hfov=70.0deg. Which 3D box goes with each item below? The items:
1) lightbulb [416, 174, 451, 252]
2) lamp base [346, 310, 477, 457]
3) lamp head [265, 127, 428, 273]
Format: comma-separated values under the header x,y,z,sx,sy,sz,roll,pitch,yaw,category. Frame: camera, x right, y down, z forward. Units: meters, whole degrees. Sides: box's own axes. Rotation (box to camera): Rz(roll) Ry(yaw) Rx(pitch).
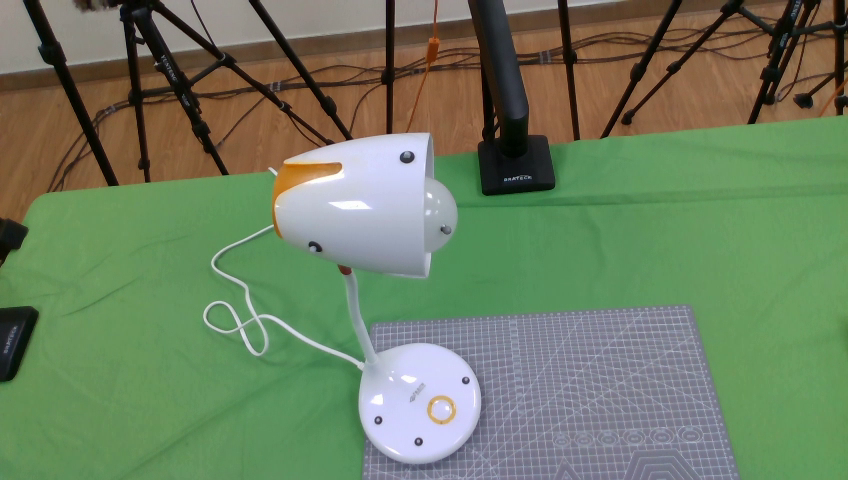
x,y,z,sx,sy,sz,roll,pitch,yaw,category
-0.033,-0.018,0.458,0.107,0.060,0.059,-3,56,7,lightbulb
-0.031,0.155,0.733,0.178,0.182,0.160,17,59,21,lamp base
-0.056,-0.029,0.465,0.123,0.113,0.111,-1,56,8,lamp head
